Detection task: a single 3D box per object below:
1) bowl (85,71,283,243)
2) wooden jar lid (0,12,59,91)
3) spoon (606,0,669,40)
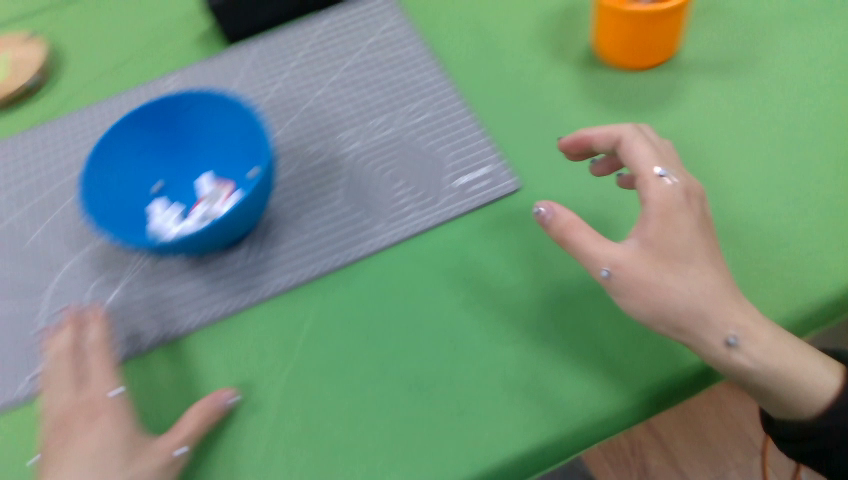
[{"bbox_3d":[-0.177,-0.053,0.486,0.151,0.077,0.150,-4,60,7],"label":"bowl"},{"bbox_3d":[-0.441,-0.200,0.648,0.108,0.021,0.107,-3,60,5],"label":"wooden jar lid"},{"bbox_3d":[0.228,-0.237,0.489,0.022,0.194,0.041,9,52,-38],"label":"spoon"}]
